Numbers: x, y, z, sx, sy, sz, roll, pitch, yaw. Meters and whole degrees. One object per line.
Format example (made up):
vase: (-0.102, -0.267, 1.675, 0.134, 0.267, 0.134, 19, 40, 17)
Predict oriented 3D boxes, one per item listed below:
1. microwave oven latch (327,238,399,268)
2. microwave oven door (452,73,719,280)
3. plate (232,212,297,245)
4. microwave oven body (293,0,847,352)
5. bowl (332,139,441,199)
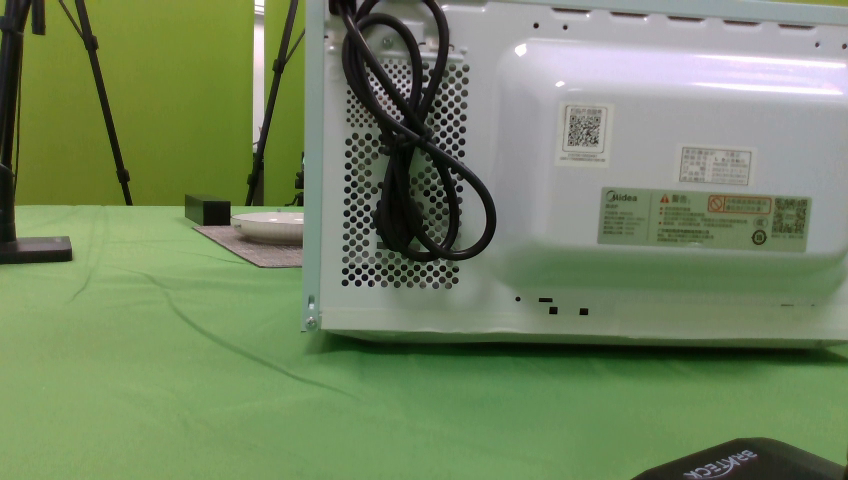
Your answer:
microwave oven latch: (-0.070, 0.015, 0.694, 0.079, 0.029, 0.030, 3, 7, -3)
microwave oven door: (0.194, -0.091, 0.815, 0.354, 0.243, 0.039, 8, 9, 38)
plate: (-0.214, -0.019, 1.018, 0.208, 0.039, 0.207, 3, 7, 0)
microwave oven body: (0.122, -0.055, 0.550, 0.442, 0.260, 0.325, 3, 7, -5)
bowl: (-0.050, -0.098, 0.842, 0.151, 0.077, 0.151, -2, 7, 1)
